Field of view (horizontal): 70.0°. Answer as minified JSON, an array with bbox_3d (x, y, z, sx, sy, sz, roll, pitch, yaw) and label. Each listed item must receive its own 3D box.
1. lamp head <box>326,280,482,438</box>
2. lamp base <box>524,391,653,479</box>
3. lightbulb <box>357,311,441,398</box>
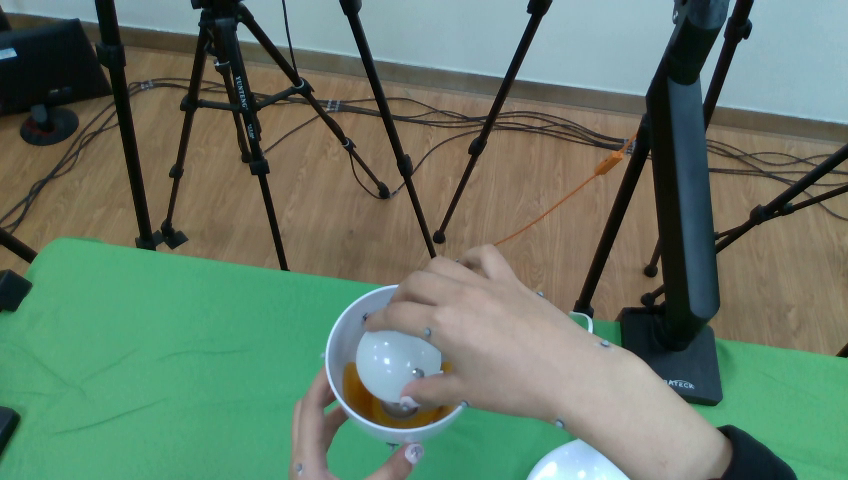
[{"bbox_3d":[-0.011,0.105,0.477,0.112,0.124,0.111,-1,59,3],"label":"lamp head"},{"bbox_3d":[0.188,0.242,0.616,0.161,0.182,0.177,-3,52,-5],"label":"lamp base"},{"bbox_3d":[-0.018,0.092,0.448,0.059,0.108,0.059,1,60,-1],"label":"lightbulb"}]
